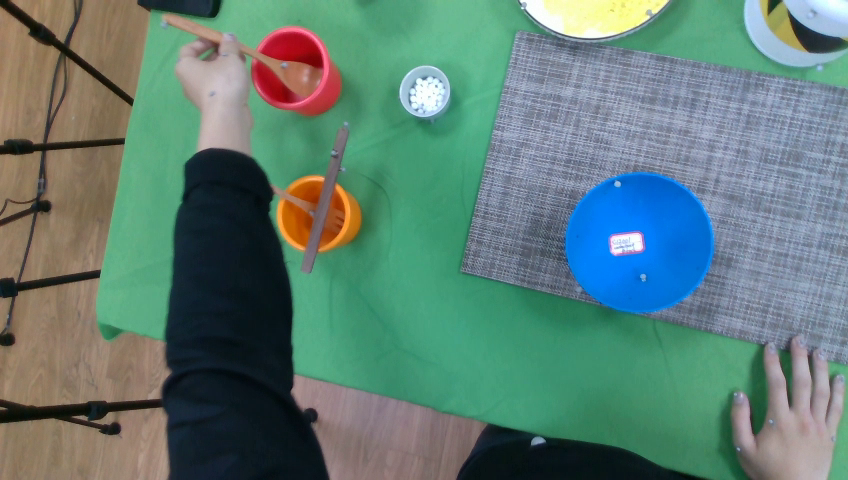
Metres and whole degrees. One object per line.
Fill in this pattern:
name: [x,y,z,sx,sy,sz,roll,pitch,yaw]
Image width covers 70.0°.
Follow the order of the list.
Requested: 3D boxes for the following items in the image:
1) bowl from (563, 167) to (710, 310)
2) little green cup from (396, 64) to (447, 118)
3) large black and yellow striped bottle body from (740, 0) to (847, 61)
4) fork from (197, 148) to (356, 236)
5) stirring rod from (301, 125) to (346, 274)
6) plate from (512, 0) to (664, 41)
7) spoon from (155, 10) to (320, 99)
bowl: [0.230,0.000,0.677,0.151,0.077,0.151,0,90,11]
little green cup: [0.000,-0.179,0.741,0.061,0.039,0.061,0,90,11]
large black and yellow striped bottle body: [0.407,-0.265,0.596,0.130,0.184,0.130,0,89,11]
fork: [-0.169,-0.055,0.715,0.209,0.018,0.028,28,98,-34]
stirring rod: [-0.117,-0.047,0.703,0.014,0.006,0.176,14,92,11]
plate: [0.193,-0.334,0.708,0.209,0.038,0.209,0,90,10]
spoon: [-0.205,-0.212,0.688,0.021,0.195,0.041,0,74,48]
